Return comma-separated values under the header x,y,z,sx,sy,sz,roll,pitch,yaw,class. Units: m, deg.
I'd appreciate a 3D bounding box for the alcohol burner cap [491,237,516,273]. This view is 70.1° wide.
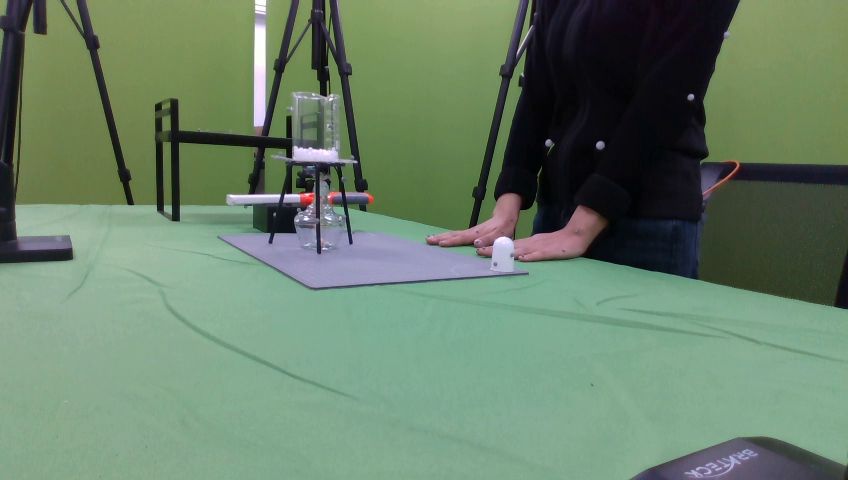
x,y,z,sx,sy,sz,roll,pitch,yaw,class
0.104,0.019,0.792,0.034,0.048,0.034,-1,6,0,alcohol burner cap

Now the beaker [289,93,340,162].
x,y,z,sx,sy,sz,roll,pitch,yaw,class
-0.162,-0.167,0.908,0.074,0.100,0.083,-4,10,-31,beaker

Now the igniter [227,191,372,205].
x,y,z,sx,sy,sz,roll,pitch,yaw,class
-0.232,-0.080,1.161,0.278,0.025,0.057,-3,12,-29,igniter

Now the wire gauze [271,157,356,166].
x,y,z,sx,sy,sz,roll,pitch,yaw,class
-0.167,-0.120,0.917,0.125,0.011,0.121,-2,6,-8,wire gauze

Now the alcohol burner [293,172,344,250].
x,y,z,sx,sy,sz,roll,pitch,yaw,class
-0.159,-0.045,0.921,0.078,0.119,0.078,5,7,0,alcohol burner

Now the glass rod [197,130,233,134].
x,y,z,sx,sy,sz,roll,pitch,yaw,class
-0.450,-0.232,1.294,0.008,0.008,0.198,-4,10,-40,glass rod

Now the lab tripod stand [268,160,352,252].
x,y,z,sx,sy,sz,roll,pitch,yaw,class
-0.171,-0.055,0.921,0.148,0.131,0.148,1,9,0,lab tripod stand
